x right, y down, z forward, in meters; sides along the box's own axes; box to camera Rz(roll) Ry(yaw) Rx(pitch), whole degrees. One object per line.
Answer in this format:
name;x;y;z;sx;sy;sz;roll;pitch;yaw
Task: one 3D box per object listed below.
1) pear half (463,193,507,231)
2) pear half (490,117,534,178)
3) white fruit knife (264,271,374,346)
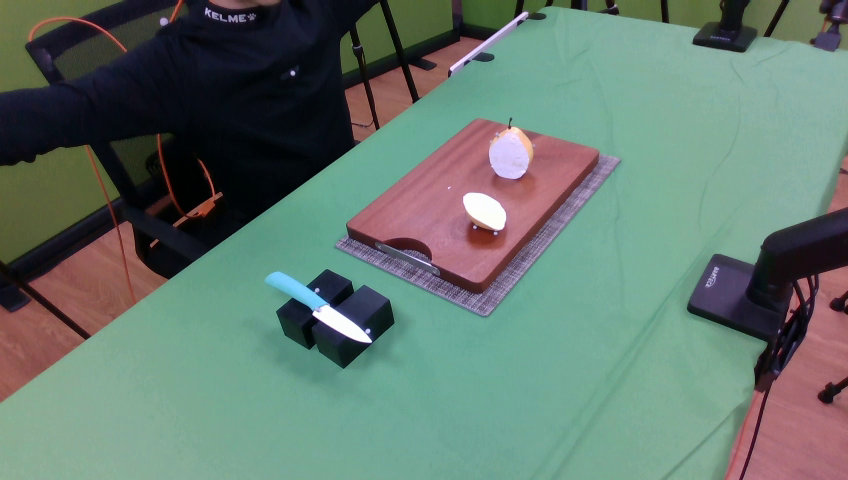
pear half;0.094;-0.038;0.947;0.071;0.031;0.087;-9;52;-25
pear half;0.152;-0.165;1.028;0.076;0.110;0.056;11;44;15
white fruit knife;-0.143;0.091;0.815;0.206;0.016;0.027;28;73;30
